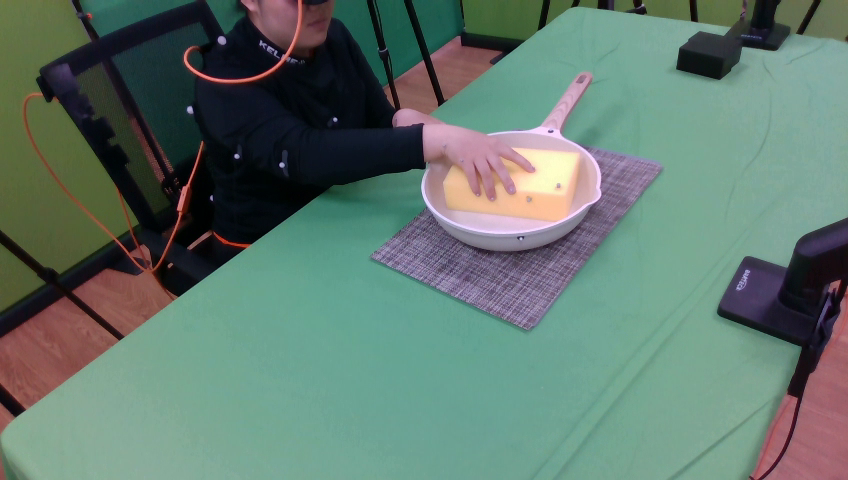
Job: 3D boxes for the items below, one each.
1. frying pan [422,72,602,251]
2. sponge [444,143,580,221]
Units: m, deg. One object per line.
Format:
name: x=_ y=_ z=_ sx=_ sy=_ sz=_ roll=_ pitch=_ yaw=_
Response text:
frying pan: x=0.199 y=-0.155 z=1.062 sx=0.304 sy=0.103 sz=0.488 roll=19 pitch=56 yaw=28
sponge: x=0.152 y=-0.101 z=1.031 sx=0.206 sy=0.061 sz=0.118 roll=8 pitch=46 yaw=19
